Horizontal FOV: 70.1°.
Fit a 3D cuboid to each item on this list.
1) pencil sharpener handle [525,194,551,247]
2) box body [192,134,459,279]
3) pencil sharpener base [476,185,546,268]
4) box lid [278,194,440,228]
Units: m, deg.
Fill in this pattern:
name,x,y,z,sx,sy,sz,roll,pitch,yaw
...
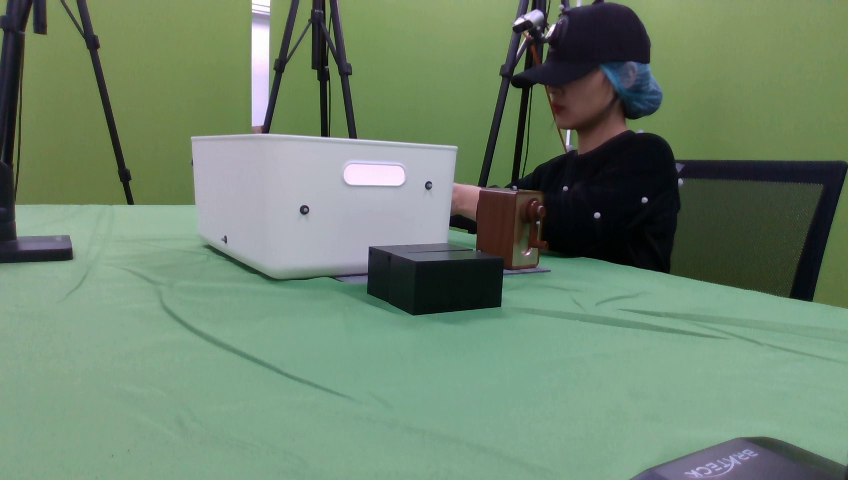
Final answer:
name,x,y,z,sx,sy,sz,roll,pitch,yaw
pencil sharpener handle,0.153,-0.025,0.784,0.036,0.067,0.030,-1,8,-41
box body,-0.154,-0.059,0.840,0.255,0.160,0.362,-2,9,-33
pencil sharpener base,0.120,-0.019,0.825,0.062,0.107,0.076,-3,9,-40
box lid,-0.149,-0.063,1.281,0.264,0.015,0.370,10,1,-25
